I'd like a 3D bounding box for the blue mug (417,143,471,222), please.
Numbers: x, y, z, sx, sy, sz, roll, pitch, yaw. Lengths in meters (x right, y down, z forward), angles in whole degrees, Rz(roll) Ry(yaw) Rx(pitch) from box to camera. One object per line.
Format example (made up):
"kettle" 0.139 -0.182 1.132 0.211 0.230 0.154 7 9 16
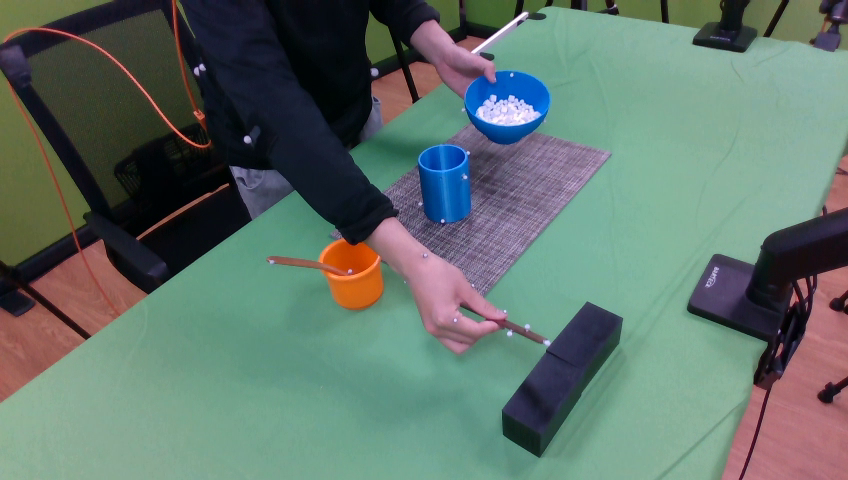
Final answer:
"blue mug" 0.031 -0.105 1.014 0.082 0.106 0.115 -14 41 -7

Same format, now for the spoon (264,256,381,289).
"spoon" -0.136 0.042 0.842 0.021 0.195 0.041 -56 47 13

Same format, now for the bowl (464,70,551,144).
"bowl" 0.146 -0.224 1.072 0.151 0.077 0.150 -1 52 2

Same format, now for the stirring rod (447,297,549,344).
"stirring rod" 0.085 0.095 0.735 0.014 0.006 0.174 -8 16 -34
